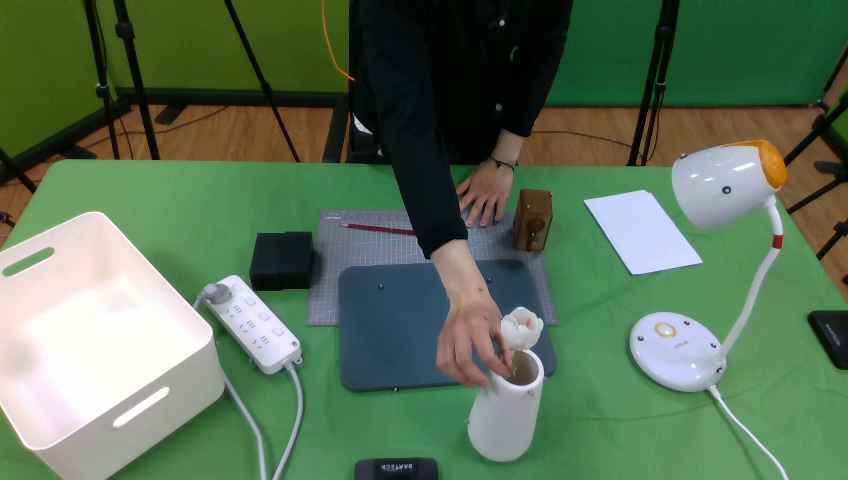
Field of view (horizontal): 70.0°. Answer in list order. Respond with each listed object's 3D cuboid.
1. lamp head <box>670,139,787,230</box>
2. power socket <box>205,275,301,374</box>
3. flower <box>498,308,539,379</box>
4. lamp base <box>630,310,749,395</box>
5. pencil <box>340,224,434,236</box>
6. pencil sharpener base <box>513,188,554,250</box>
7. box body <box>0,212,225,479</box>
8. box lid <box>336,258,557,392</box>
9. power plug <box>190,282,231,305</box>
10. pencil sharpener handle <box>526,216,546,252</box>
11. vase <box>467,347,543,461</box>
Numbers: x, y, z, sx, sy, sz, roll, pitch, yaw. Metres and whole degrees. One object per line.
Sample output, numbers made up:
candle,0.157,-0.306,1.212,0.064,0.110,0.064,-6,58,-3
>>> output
lamp head,0.415,-0.078,0.811,0.113,0.123,0.112,12,70,-37
power socket,-0.296,0.140,1.035,0.072,0.033,0.225,-32,57,-29
flower,0.113,0.178,0.796,0.044,0.363,0.038,-3,59,3
lamp base,0.447,0.143,0.984,0.161,0.181,0.178,-24,55,-24
pencil,-0.076,-0.021,1.219,0.194,0.012,0.012,6,46,4
pencil sharpener base,0.213,-0.038,1.187,0.061,0.107,0.076,5,47,0
box body,-0.504,0.154,0.916,0.362,0.161,0.254,36,54,27
box lid,0.031,0.140,1.073,0.372,0.015,0.261,-3,47,-7
power plug,-0.368,0.098,1.038,0.072,0.053,0.035,-26,55,-20
pencil sharpener handle,0.208,-0.010,1.143,0.036,0.068,0.030,9,46,-5
vase,0.116,0.235,0.861,0.098,0.201,0.097,1,47,-1
